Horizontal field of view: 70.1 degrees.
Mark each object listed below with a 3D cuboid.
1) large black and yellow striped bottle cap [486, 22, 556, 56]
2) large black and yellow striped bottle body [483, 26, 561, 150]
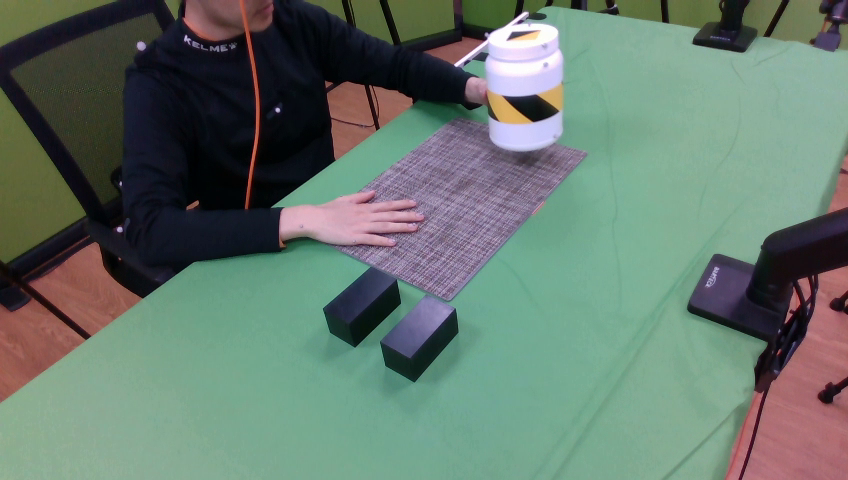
[{"bbox_3d":[0.159,-0.332,0.997,0.115,0.019,0.114,-6,37,5],"label":"large black and yellow striped bottle cap"},{"bbox_3d":[0.170,-0.265,1.044,0.131,0.185,0.130,-6,35,5],"label":"large black and yellow striped bottle body"}]
